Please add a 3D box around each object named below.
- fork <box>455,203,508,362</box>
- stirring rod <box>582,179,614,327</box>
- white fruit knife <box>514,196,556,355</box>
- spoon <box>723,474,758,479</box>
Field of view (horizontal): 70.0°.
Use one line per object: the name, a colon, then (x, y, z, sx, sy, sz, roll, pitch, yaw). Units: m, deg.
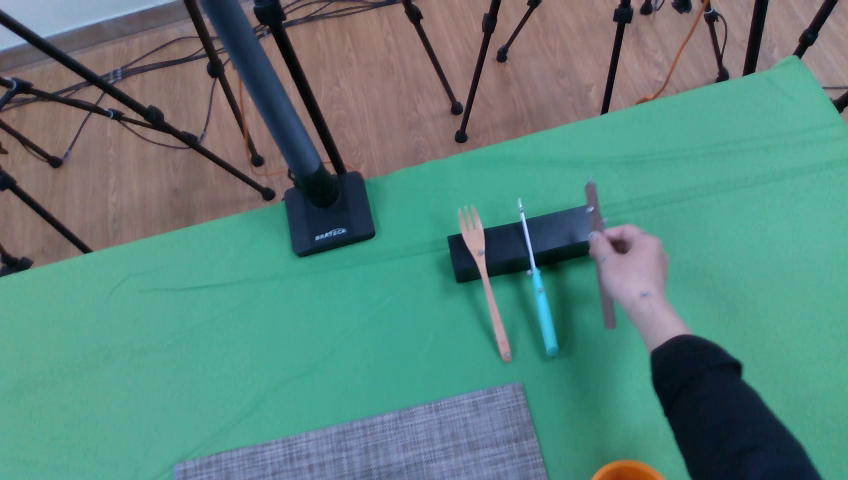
fork: (0.075, 0.054, 0.772, 0.028, 0.018, 0.207, -15, 85, -2)
stirring rod: (0.205, 0.016, 0.715, 0.014, 0.006, 0.176, -9, 88, 37)
white fruit knife: (0.137, 0.043, 0.767, 0.016, 0.027, 0.206, -12, 81, -1)
spoon: (0.246, 0.265, 0.620, 0.022, 0.194, 0.041, 10, 58, -37)
